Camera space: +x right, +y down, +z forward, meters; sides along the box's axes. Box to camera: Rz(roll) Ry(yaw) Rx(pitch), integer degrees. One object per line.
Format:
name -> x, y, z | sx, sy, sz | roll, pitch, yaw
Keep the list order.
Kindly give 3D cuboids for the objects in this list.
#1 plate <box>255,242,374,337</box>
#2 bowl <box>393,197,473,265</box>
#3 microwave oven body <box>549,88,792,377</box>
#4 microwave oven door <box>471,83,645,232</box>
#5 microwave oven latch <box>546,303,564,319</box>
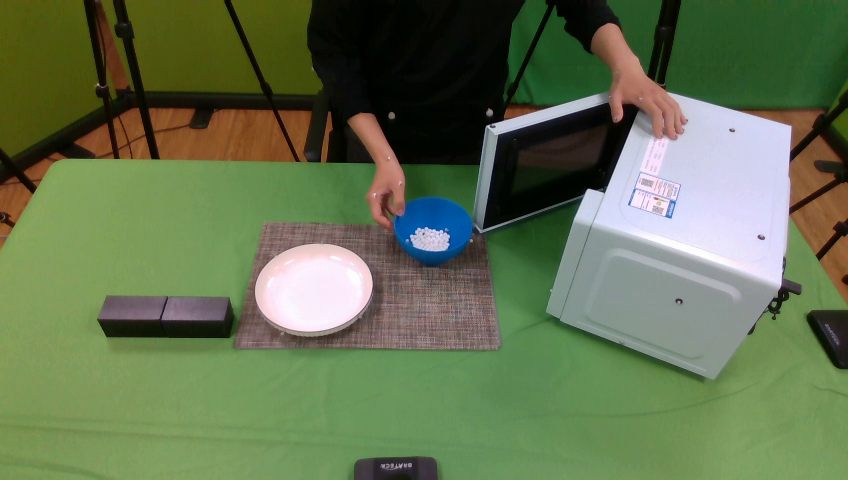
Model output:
plate -> -0.192, 0.090, 1.079 | 0.208, 0.039, 0.206 | 2, 46, -2
bowl -> 0.015, -0.005, 1.159 | 0.151, 0.077, 0.150 | 2, 45, -2
microwave oven body -> 0.456, -0.028, 1.088 | 0.325, 0.261, 0.440 | 20, 47, 16
microwave oven door -> 0.264, -0.163, 1.197 | 0.356, 0.245, 0.039 | -19, 50, -21
microwave oven latch -> 0.242, 0.102, 1.081 | 0.030, 0.029, 0.079 | 21, 48, 17
